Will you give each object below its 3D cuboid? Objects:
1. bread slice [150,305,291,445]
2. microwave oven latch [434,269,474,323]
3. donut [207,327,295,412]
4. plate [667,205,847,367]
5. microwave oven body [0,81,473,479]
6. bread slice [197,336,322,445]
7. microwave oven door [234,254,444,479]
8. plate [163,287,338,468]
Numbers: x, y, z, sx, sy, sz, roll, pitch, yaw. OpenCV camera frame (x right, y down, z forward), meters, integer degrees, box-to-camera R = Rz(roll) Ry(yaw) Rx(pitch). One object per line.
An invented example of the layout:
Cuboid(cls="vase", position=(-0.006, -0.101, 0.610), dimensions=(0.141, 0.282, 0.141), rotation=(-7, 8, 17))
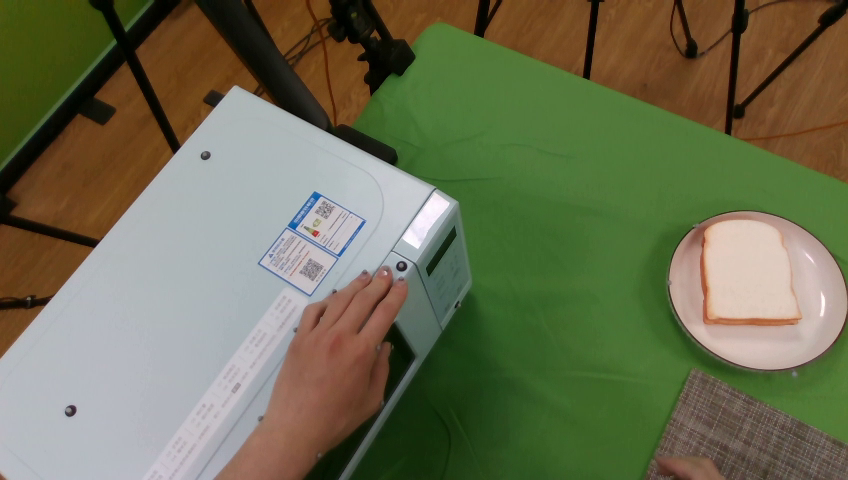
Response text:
Cuboid(cls="bread slice", position=(-0.216, 0.138, 0.671), dimensions=(0.106, 0.018, 0.134), rotation=(39, 70, 11))
Cuboid(cls="microwave oven latch", position=(0.035, 0.066, 0.779), dimensions=(0.030, 0.030, 0.079), rotation=(33, 76, 19))
Cuboid(cls="donut", position=(-0.197, 0.149, 0.696), dimensions=(0.099, 0.048, 0.098), rotation=(2, 63, -4))
Cuboid(cls="plate", position=(0.407, 0.056, 0.751), dimensions=(0.207, 0.039, 0.206), rotation=(-3, 67, 7))
Cuboid(cls="microwave oven body", position=(-0.197, 0.103, 0.690), dimensions=(0.324, 0.262, 0.440), rotation=(29, 74, 18))
Cuboid(cls="bread slice", position=(-0.204, 0.185, 0.737), dimensions=(0.132, 0.019, 0.104), rotation=(-26, 65, -31))
Cuboid(cls="microwave oven door", position=(-0.100, 0.201, 0.630), dimensions=(0.039, 0.246, 0.355), rotation=(29, 74, 19))
Cuboid(cls="plate", position=(-0.201, 0.160, 0.718), dimensions=(0.209, 0.038, 0.207), rotation=(-2, 70, 5))
